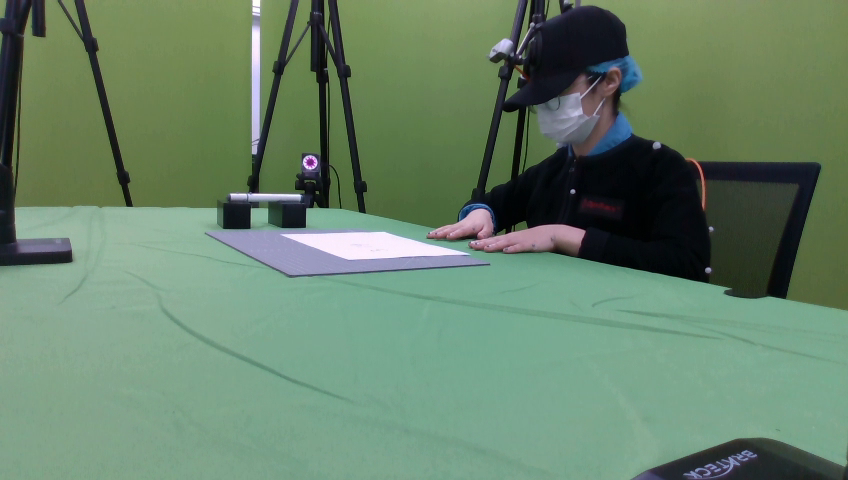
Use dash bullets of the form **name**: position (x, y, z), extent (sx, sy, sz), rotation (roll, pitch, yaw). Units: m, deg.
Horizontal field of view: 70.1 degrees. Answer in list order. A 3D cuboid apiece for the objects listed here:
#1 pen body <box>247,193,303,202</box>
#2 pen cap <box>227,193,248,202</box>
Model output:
- **pen body**: position (-0.321, -0.087, 1.244), extent (0.145, 0.017, 0.017), rotation (-2, 9, -33)
- **pen cap**: position (-0.373, -0.085, 1.209), extent (0.039, 0.017, 0.017), rotation (-1, 8, -34)
